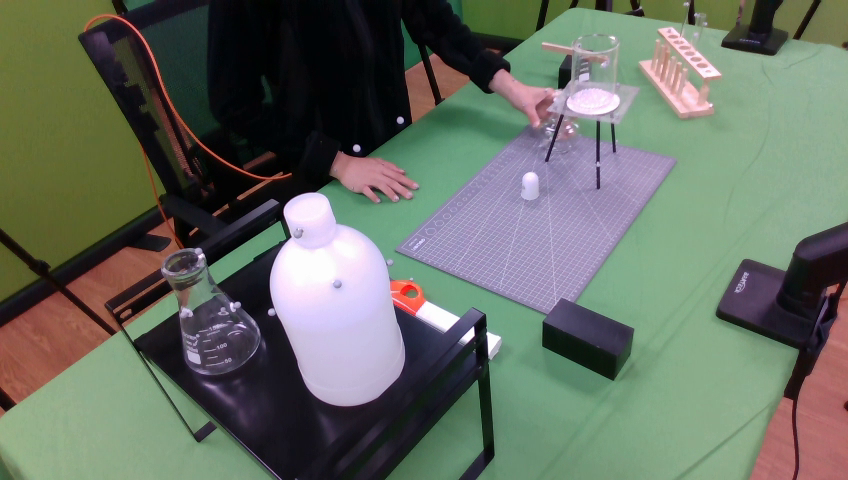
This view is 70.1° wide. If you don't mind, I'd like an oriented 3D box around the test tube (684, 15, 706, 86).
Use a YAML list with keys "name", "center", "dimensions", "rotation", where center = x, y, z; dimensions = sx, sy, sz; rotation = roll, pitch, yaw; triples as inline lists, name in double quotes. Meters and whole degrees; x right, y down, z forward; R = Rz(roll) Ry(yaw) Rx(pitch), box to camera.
- name: "test tube"
  center: [0.541, -0.378, 1.216]
  dimensions: [0.017, 0.151, 0.017]
  rotation: [-2, 44, 3]

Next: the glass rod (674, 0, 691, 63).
- name: "glass rod"
  center: [0.537, -0.437, 1.257]
  dimensions: [0.008, 0.200, 0.008]
  rotation: [0, 39, 1]

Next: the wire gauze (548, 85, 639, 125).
- name: "wire gauze"
  center: [0.286, -0.233, 1.020]
  dimensions: [0.124, 0.011, 0.122]
  rotation: [15, 43, 30]

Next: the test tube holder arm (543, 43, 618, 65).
- name: "test tube holder arm"
  center: [0.344, -0.413, 1.340]
  dimensions: [0.177, 0.015, 0.013]
  rotation: [25, 51, 31]

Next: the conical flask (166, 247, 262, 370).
- name: "conical flask"
  center: [-0.209, 0.063, 0.584]
  dimensions: [0.075, 0.122, 0.075]
  rotation: [-5, 40, 4]

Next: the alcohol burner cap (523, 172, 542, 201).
- name: "alcohol burner cap"
  center: [0.186, -0.096, 1.047]
  dimensions: [0.034, 0.048, 0.033]
  rotation: [-6, 37, 5]

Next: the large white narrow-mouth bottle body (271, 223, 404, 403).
- name: "large white narrow-mouth bottle body"
  center: [-0.077, 0.048, 0.525]
  dimensions: [0.102, 0.195, 0.101]
  rotation: [-5, 40, 5]

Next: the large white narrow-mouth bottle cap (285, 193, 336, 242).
- name: "large white narrow-mouth bottle cap"
  center: [-0.087, -0.018, 0.467]
  dimensions: [0.038, 0.024, 0.037]
  rotation: [-5, 40, 4]

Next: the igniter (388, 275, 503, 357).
- name: "igniter"
  center: [-0.008, 0.093, 0.870]
  dimensions: [0.274, 0.025, 0.057]
  rotation: [24, 60, 33]

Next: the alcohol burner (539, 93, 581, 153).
- name: "alcohol burner"
  center: [0.254, -0.223, 1.129]
  dimensions: [0.078, 0.119, 0.077]
  rotation: [-5, 43, 5]

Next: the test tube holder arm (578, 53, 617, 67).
- name: "test tube holder arm"
  center: [0.376, -0.393, 1.314]
  dimensions: [0.087, 0.015, 0.010]
  rotation: [26, 51, 32]

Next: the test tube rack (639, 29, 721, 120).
- name: "test tube rack"
  center: [0.527, -0.351, 1.262]
  dimensions: [0.067, 0.085, 0.241]
  rotation: [-8, 40, 1]

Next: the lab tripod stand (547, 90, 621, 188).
- name: "lab tripod stand"
  center: [0.289, -0.184, 1.062]
  dimensions: [0.148, 0.132, 0.147]
  rotation: [-6, 41, 6]

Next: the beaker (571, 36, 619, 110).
- name: "beaker"
  center: [0.281, -0.273, 0.992]
  dimensions: [0.084, 0.101, 0.073]
  rotation: [-24, 42, -16]
